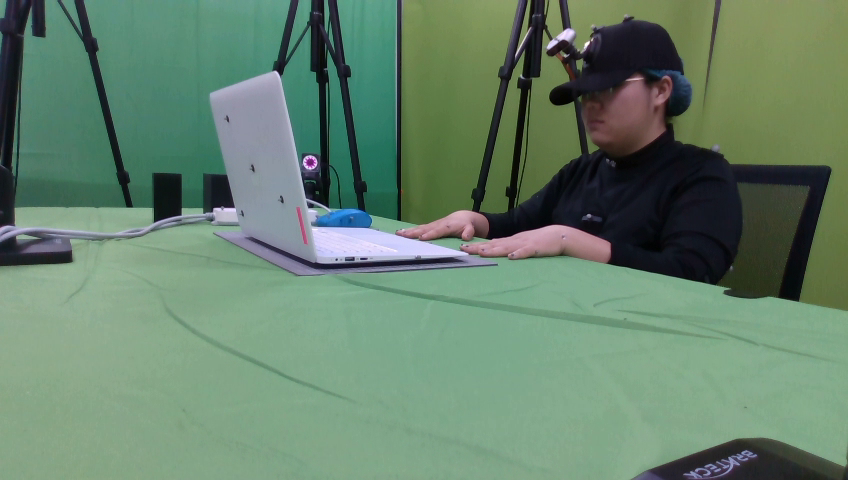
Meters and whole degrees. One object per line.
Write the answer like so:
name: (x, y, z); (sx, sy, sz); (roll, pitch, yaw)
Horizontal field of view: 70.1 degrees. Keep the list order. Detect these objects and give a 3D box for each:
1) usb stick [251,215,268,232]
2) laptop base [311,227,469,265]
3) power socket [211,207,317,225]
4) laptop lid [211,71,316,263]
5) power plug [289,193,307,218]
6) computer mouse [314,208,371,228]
usb stick: (-0.290, -0.028, 1.070); (0.021, 0.027, 0.059); (-1, 11, -30)
laptop base: (-0.122, 0.007, 0.952); (0.237, 0.023, 0.352); (2, 6, -32)
power socket: (-0.334, -0.051, 1.281); (0.228, 0.032, 0.072); (-1, 8, -28)
laptop lid: (-0.240, -0.104, 0.861); (0.013, 0.241, 0.355); (-16, 17, -29)
power plug: (-0.281, -0.076, 1.340); (0.035, 0.052, 0.072); (3, 6, -17)
computer mouse: (-0.173, -0.046, 1.284); (0.118, 0.041, 0.062); (-7, 13, -30)
